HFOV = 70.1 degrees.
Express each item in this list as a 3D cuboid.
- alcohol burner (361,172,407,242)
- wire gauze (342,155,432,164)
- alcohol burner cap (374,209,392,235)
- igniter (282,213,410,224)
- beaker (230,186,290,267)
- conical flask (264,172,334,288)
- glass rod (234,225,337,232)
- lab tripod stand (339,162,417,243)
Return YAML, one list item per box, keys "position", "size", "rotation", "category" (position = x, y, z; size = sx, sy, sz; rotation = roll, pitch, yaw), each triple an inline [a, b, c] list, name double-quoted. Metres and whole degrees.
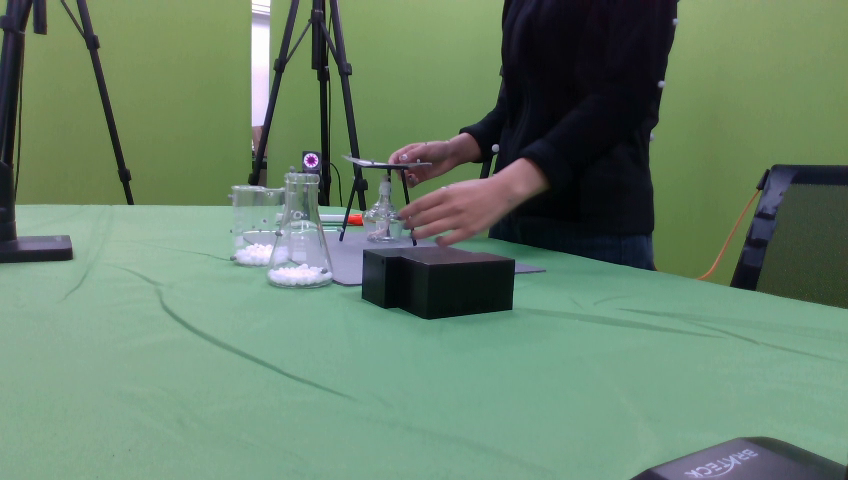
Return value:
- position: [-0.067, -0.056, 1.030]
  size: [0.078, 0.119, 0.078]
  rotation: [3, 9, 0]
  category: "alcohol burner"
- position: [-0.065, -0.131, 1.017]
  size: [0.122, 0.011, 0.124]
  rotation: [1, 9, -26]
  category: "wire gauze"
- position: [-0.078, -0.036, 1.148]
  size: [0.034, 0.048, 0.034]
  rotation: [3, 8, 0]
  category: "alcohol burner cap"
- position: [-0.159, -0.046, 1.287]
  size: [0.278, 0.025, 0.057]
  rotation: [-1, -3, -21]
  category: "igniter"
- position: [-0.209, -0.019, 0.778]
  size: [0.074, 0.100, 0.084]
  rotation: [3, 6, 4]
  category: "beaker"
- position: [-0.136, -0.013, 0.660]
  size: [0.075, 0.122, 0.075]
  rotation: [2, 7, 0]
  category: "conical flask"
- position: [-0.256, -0.023, 1.136]
  size: [0.201, 0.008, 0.008]
  rotation: [-3, 9, -33]
  category: "glass rod"
- position: [-0.067, -0.065, 1.027]
  size: [0.148, 0.131, 0.148]
  rotation: [4, 7, 0]
  category: "lab tripod stand"
